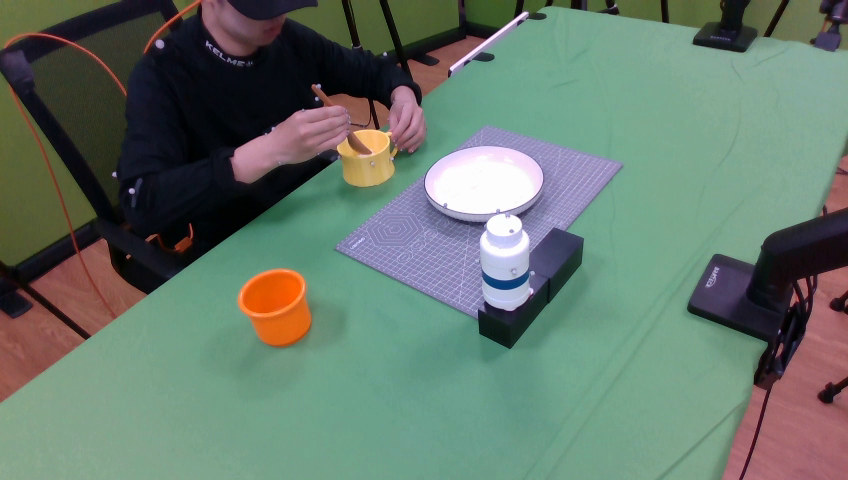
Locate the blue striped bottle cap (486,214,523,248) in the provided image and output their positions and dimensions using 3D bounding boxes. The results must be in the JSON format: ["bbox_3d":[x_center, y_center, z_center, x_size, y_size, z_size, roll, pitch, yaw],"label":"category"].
[{"bbox_3d":[0.098,-0.011,0.735,0.044,0.021,0.044,-3,38,3],"label":"blue striped bottle cap"}]

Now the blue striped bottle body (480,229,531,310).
[{"bbox_3d":[0.104,0.027,0.769,0.063,0.121,0.063,-4,40,4],"label":"blue striped bottle body"}]

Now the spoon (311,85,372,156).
[{"bbox_3d":[-0.141,-0.199,1.028,0.041,0.195,0.021,14,66,30],"label":"spoon"}]

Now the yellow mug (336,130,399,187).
[{"bbox_3d":[-0.098,-0.162,1.139,0.131,0.064,0.099,-34,47,-29],"label":"yellow mug"}]

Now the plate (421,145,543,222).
[{"bbox_3d":[0.101,-0.094,1.048,0.207,0.039,0.206,-4,41,4],"label":"plate"}]
